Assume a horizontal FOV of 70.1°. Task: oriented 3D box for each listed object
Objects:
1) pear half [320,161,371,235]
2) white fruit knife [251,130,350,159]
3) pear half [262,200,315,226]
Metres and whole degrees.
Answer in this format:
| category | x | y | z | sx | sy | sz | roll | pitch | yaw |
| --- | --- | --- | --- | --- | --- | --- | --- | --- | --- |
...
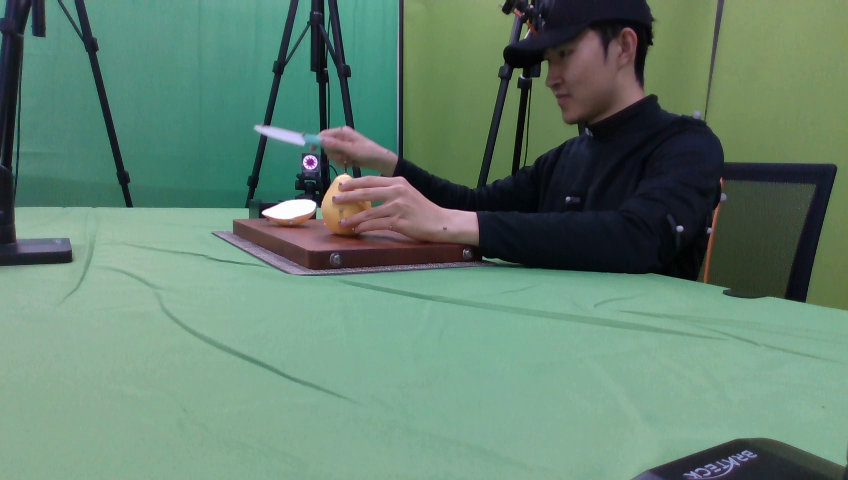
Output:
| category | x | y | z | sx | sy | sz | roll | pitch | yaw |
| --- | --- | --- | --- | --- | --- | --- | --- | --- | --- |
| pear half | -0.110 | -0.061 | 0.897 | 0.055 | 0.110 | 0.077 | 10 | 18 | 40 |
| white fruit knife | -0.251 | -0.199 | 1.244 | 0.208 | 0.027 | 0.016 | 9 | -21 | -25 |
| pear half | -0.223 | -0.041 | 1.008 | 0.088 | 0.031 | 0.070 | -10 | 22 | 2 |
